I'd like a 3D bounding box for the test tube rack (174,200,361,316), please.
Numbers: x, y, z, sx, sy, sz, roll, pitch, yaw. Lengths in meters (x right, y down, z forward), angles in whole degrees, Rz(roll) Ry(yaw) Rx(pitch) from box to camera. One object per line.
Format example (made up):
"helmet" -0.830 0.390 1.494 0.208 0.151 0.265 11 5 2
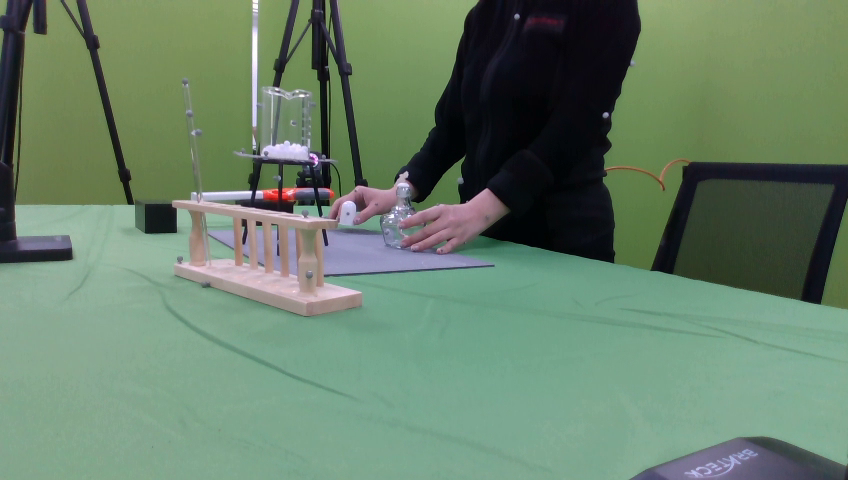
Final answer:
"test tube rack" -0.169 0.009 0.622 0.241 0.085 0.067 9 9 41

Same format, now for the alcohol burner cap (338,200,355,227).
"alcohol burner cap" -0.144 -0.050 1.131 0.034 0.048 0.034 5 9 -1

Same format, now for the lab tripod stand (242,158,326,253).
"lab tripod stand" -0.207 -0.054 0.895 0.148 0.131 0.148 3 5 0

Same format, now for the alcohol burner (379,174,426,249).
"alcohol burner" -0.034 -0.046 0.975 0.078 0.119 0.078 1 6 0

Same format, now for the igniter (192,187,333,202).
"igniter" -0.316 -0.090 1.214 0.278 0.025 0.057 -5 12 -31

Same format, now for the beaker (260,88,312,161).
"beaker" -0.201 -0.166 0.876 0.074 0.100 0.083 1 7 -18

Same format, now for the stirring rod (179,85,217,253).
"stirring rod" -0.237 -0.073 0.634 0.006 0.176 0.014 0 10 42

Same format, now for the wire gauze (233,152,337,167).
"wire gauze" -0.205 -0.119 0.887 0.122 0.011 0.124 2 4 -32
